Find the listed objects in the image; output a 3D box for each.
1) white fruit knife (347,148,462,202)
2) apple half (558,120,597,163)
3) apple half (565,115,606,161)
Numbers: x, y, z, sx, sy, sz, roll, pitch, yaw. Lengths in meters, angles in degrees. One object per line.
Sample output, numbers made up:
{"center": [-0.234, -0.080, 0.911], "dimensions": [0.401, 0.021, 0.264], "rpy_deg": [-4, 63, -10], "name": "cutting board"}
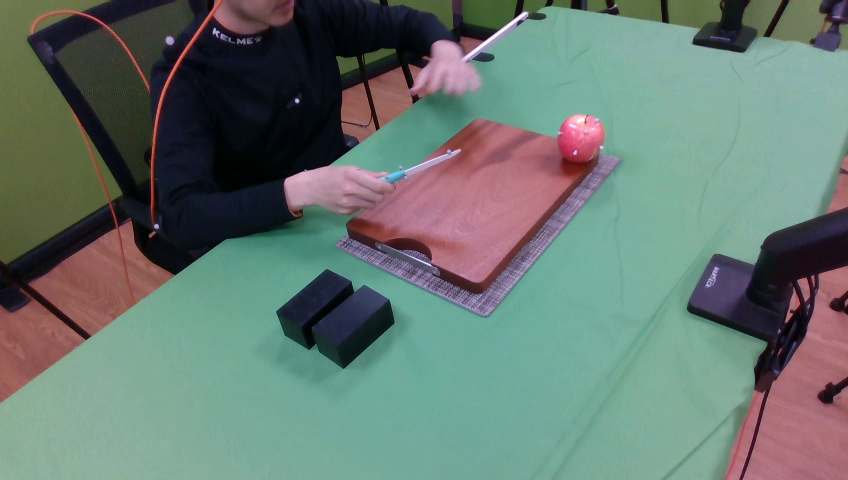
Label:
{"center": [-0.035, -0.103, 0.949], "dimensions": [0.207, 0.027, 0.016], "rpy_deg": [-22, 73, 16], "name": "white fruit knife"}
{"center": [0.255, -0.163, 1.037], "dimensions": [0.033, 0.081, 0.080], "rpy_deg": [-33, 47, -31], "name": "apple half"}
{"center": [0.284, -0.181, 1.057], "dimensions": [0.053, 0.075, 0.080], "rpy_deg": [-32, 44, -31], "name": "apple half"}
